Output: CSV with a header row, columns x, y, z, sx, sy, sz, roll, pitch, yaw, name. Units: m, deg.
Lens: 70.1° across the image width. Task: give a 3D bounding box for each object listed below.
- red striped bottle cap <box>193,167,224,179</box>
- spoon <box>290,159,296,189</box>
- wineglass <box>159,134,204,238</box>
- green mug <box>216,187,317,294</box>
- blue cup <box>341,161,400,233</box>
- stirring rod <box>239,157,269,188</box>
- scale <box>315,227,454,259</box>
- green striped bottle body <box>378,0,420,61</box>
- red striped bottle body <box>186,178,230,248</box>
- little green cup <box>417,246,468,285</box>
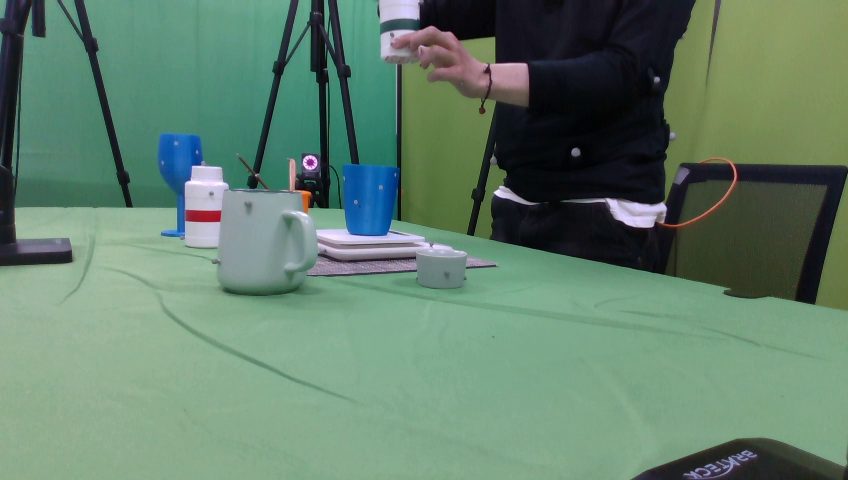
x,y,z,sx,sy,sz,roll,pitch,yaw,name
-0.329,-0.103,0.921,0.044,0.017,0.044,-1,9,0,red striped bottle cap
-0.273,-0.102,1.252,0.042,0.193,0.021,7,-39,-17,spoon
-0.415,-0.093,1.040,0.074,0.172,0.073,2,7,0,wineglass
-0.157,0.000,0.629,0.124,0.105,0.093,7,9,37,green mug
-0.080,-0.062,0.883,0.093,0.100,0.092,3,4,0,blue cup
-0.309,-0.098,1.209,0.006,0.177,0.014,-39,29,-4,stirring rod
-0.066,0.001,0.906,0.202,0.031,0.148,-2,8,-31,scale
-0.039,-0.343,0.939,0.063,0.119,0.063,-2,6,1,green striped bottle body
-0.331,-0.049,0.927,0.063,0.119,0.063,2,6,0,red striped bottle body
0.021,0.029,0.701,0.061,0.038,0.061,1,6,0,little green cup
